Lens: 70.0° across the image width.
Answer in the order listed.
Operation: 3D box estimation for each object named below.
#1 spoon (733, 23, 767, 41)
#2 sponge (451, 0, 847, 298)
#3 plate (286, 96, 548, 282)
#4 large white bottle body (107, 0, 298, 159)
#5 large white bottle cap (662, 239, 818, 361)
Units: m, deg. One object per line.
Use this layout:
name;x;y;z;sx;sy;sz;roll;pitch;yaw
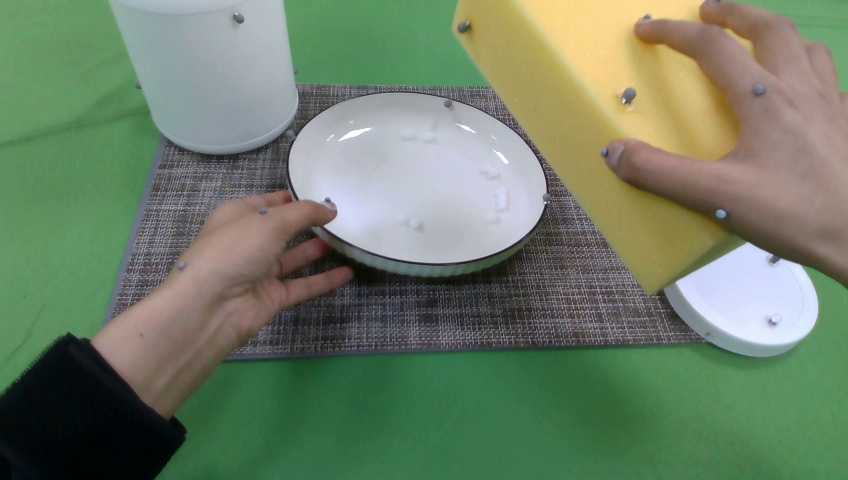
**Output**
spoon;0.200;-0.157;0.541;0.022;0.193;0.041;54;52;-20
sponge;0.122;-0.084;0.350;0.118;0.061;0.205;-25;68;-21
plate;-0.005;-0.042;0.491;0.209;0.038;0.207;6;46;-6
large white bottle body;-0.179;-0.174;0.499;0.131;0.186;0.129;2;51;-2
large white bottle cap;0.241;0.039;0.468;0.115;0.018;0.113;4;50;-4
